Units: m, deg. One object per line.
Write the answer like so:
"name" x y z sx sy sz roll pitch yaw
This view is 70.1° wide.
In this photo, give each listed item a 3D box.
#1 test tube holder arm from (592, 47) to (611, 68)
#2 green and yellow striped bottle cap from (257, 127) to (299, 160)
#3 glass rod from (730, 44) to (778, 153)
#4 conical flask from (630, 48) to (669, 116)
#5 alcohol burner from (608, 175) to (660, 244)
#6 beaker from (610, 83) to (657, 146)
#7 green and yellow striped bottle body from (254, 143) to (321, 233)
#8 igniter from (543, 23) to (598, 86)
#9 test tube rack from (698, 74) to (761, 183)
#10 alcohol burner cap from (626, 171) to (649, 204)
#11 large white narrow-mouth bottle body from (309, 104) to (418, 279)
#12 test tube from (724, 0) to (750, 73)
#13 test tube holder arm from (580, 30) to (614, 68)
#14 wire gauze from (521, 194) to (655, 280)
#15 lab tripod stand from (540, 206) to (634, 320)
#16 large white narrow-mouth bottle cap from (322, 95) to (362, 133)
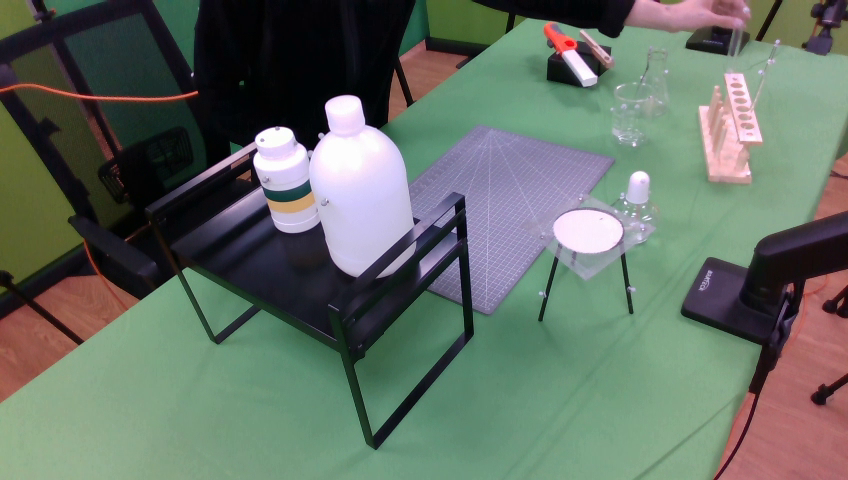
"test tube holder arm" 0.386 -0.398 1.317 0.010 0.015 0.087 -8 41 -3
"green and yellow striped bottle cap" -0.169 -0.112 0.699 0.045 0.020 0.045 -5 41 5
"glass rod" 0.555 -0.233 1.021 0.008 0.200 0.008 2 40 -1
"conical flask" 0.456 -0.317 1.205 0.075 0.122 0.075 -4 41 4
"alcohol burner" 0.322 -0.053 0.924 0.078 0.119 0.077 -4 42 4
"beaker" 0.388 -0.235 1.138 0.074 0.101 0.083 -31 45 -25
"green and yellow striped bottle body" -0.165 -0.073 0.732 0.063 0.120 0.063 -4 41 4
"igniter" 0.320 -0.419 1.344 0.057 0.025 0.274 -12 44 -3
"test tube rack" 0.547 -0.208 1.095 0.066 0.085 0.242 5 42 15
"alcohol burner cap" 0.320 -0.081 0.900 0.034 0.048 0.033 -4 42 4
"large white narrow-mouth bottle body" -0.068 -0.057 0.644 0.102 0.195 0.101 -6 40 5
"test tube" 0.525 -0.351 1.011 0.017 0.151 0.017 -4 39 4
"test tube holder arm" 0.385 -0.428 1.351 0.013 0.015 0.177 -9 41 -4
"wire gauze" 0.207 -0.012 0.772 0.122 0.011 0.124 -28 44 -20
"lab tripod stand" 0.217 0.034 0.821 0.148 0.132 0.147 -4 42 4
"large white narrow-mouth bottle cap" -0.080 -0.123 0.590 0.038 0.024 0.037 -5 40 5
